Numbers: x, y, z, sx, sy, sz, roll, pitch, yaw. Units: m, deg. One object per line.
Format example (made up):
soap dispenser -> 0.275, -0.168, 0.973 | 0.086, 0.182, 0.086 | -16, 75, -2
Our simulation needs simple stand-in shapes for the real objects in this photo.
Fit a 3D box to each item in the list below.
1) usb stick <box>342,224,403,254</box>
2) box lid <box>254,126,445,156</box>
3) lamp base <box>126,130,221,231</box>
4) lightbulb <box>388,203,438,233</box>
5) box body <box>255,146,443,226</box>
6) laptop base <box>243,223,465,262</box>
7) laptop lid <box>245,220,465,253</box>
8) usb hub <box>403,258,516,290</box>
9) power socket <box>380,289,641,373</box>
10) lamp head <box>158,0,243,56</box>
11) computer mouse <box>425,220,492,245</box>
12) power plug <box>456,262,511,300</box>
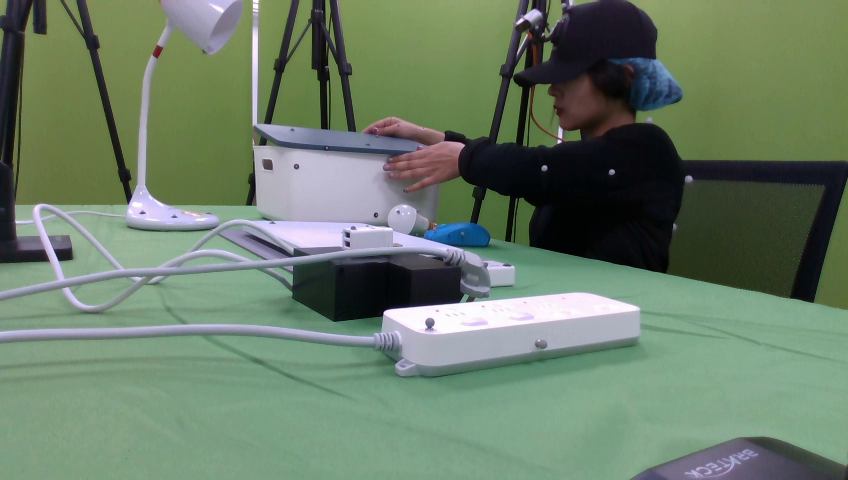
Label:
usb stick -> -0.047, -0.001, 0.567 | 0.059, 0.027, 0.021 | 0, 5, -32
box lid -> -0.166, -0.217, 1.322 | 0.373, 0.015, 0.262 | -1, 17, -28
lamp base -> -0.469, -0.112, 1.109 | 0.179, 0.180, 0.160 | 0, 7, 3
lightbulb -> -0.018, -0.035, 1.162 | 0.108, 0.059, 0.059 | 16, 0, -27
box body -> -0.169, -0.120, 1.343 | 0.366, 0.160, 0.253 | -2, 8, -31
laptop base -> -0.126, 0.002, 0.946 | 0.237, 0.023, 0.352 | 2, 6, -31
laptop lid -> -0.124, -0.009, 0.945 | 0.243, 0.013, 0.355 | 1, 7, -29
usb hub -> 0.042, 0.038, 0.690 | 0.126, 0.025, 0.049 | -2, 10, -29
power socket -> 0.072, 0.064, 0.461 | 0.228, 0.032, 0.072 | -2, 8, -30
lamp head -> -0.399, -0.397, 1.057 | 0.123, 0.112, 0.112 | 27, 5, -7
computer mouse -> 0.060, -0.013, 1.060 | 0.117, 0.041, 0.062 | -2, 10, -6
power plug -> 0.052, 0.051, 0.543 | 0.035, 0.052, 0.072 | 6, 37, -20
